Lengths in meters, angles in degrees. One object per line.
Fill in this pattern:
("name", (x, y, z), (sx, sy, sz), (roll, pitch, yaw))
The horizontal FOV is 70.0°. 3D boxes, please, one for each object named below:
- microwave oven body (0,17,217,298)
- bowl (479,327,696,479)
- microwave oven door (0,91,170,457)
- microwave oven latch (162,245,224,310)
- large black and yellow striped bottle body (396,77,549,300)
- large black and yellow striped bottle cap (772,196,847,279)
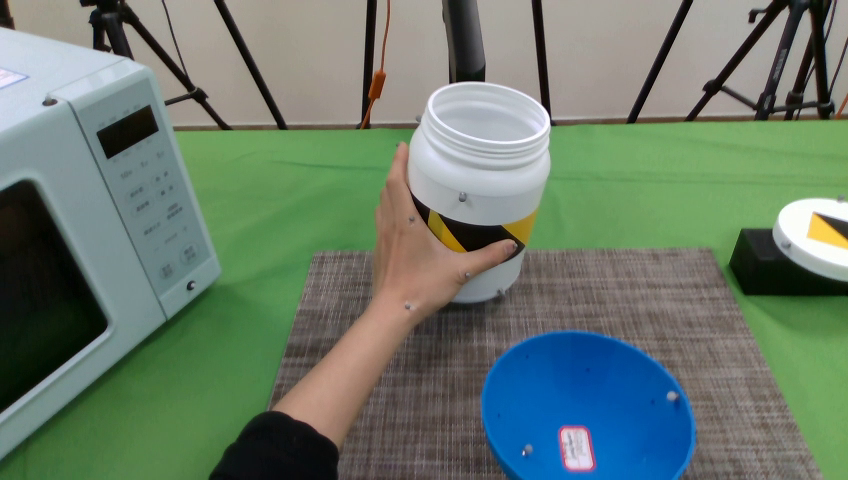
("microwave oven body", (-0.466, 0.018, 0.508), (0.324, 0.262, 0.440), (19, 45, 24))
("bowl", (0.116, 0.147, 0.459), (0.151, 0.077, 0.150), (-2, 39, 2))
("microwave oven door", (-0.361, 0.080, 0.419), (0.039, 0.246, 0.354), (18, 44, 24))
("microwave oven latch", (-0.244, 0.035, 0.627), (0.030, 0.030, 0.079), (20, 45, 25))
("large black and yellow striped bottle body", (0.044, -0.047, 0.580), (0.131, 0.185, 0.129), (5, 41, -4))
("large black and yellow striped bottle cap", (0.412, -0.005, 0.602), (0.115, 0.019, 0.114), (-3, 39, 2))
